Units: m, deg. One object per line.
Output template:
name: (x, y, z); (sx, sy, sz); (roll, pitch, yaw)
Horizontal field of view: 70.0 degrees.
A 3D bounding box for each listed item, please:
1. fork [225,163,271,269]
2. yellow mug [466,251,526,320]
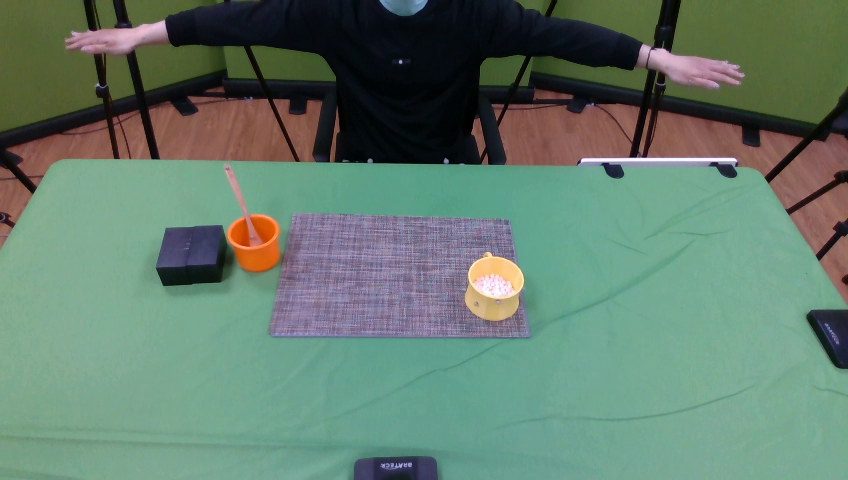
fork: (-0.331, -0.045, 1.127); (0.028, 0.018, 0.207); (-21, 94, -23)
yellow mug: (0.125, 0.074, 1.096); (0.100, 0.064, 0.130); (-4, 45, -7)
